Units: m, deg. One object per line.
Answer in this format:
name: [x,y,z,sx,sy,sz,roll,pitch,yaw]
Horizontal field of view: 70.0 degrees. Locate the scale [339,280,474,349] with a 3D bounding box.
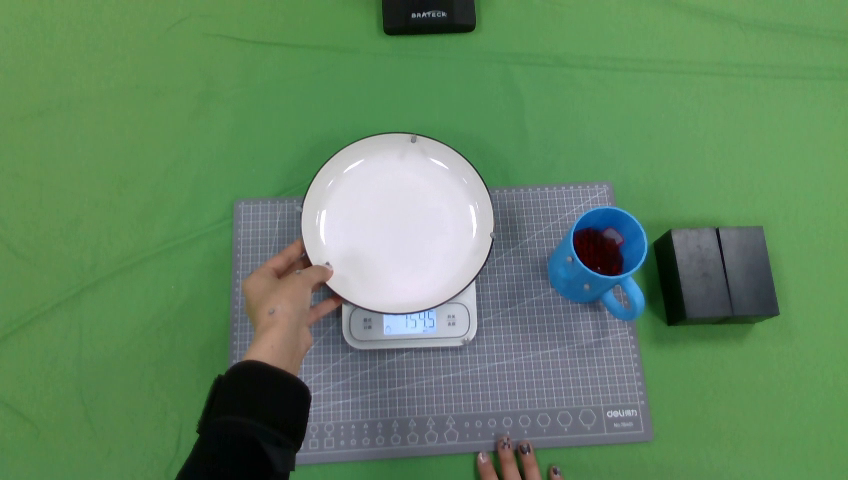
scale: [-0.021,0.019,0.681,0.149,0.032,0.199,-1,74,-2]

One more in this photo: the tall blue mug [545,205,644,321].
tall blue mug: [0.191,0.026,0.644,0.107,0.108,0.077,32,74,9]

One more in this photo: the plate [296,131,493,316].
plate: [-0.031,-0.017,0.657,0.209,0.038,0.208,1,73,-2]
